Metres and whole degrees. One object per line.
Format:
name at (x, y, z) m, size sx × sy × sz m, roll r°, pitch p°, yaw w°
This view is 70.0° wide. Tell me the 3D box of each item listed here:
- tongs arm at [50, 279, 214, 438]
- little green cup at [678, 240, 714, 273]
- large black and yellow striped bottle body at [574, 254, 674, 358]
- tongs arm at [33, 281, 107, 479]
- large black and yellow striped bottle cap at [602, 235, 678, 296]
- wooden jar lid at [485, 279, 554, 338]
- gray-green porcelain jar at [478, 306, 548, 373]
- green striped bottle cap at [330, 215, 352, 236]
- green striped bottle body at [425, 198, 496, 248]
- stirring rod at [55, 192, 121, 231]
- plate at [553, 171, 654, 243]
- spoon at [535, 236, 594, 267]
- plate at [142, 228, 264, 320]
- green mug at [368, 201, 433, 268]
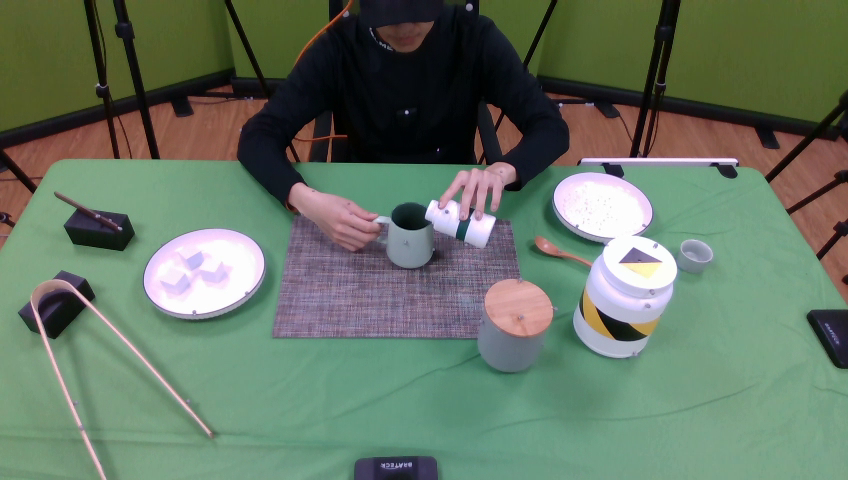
tongs arm at (-0.459, 0.178, 0.949) m, size 0.386 × 0.028 × 0.028 m, roll 37°, pitch 60°, yaw 17°
little green cup at (0.531, 0.033, 1.190) m, size 0.061 × 0.039 × 0.061 m, roll 2°, pitch 46°, yaw -1°
large black and yellow striped bottle body at (0.335, 0.096, 1.014) m, size 0.131 × 0.185 × 0.130 m, roll 2°, pitch 46°, yaw -2°
tongs arm at (-0.517, 0.214, 0.910) m, size 0.051 × 0.026 × 0.383 m, roll -28°, pitch 63°, yaw -27°
large black and yellow striped bottle cap at (0.340, 0.037, 0.955) m, size 0.115 × 0.019 × 0.114 m, roll 2°, pitch 47°, yaw -2°
wooden jar lid at (0.147, 0.108, 0.940) m, size 0.108 × 0.021 × 0.107 m, roll 4°, pitch 47°, yaw -4°
gray-green porcelain jar at (0.144, 0.148, 0.989) m, size 0.106 × 0.127 × 0.105 m, roll 2°, pitch 50°, yaw -2°
green striped bottle cap at (-0.167, -0.029, 1.214) m, size 0.044 × 0.020 × 0.044 m, roll 1°, pitch 51°, yaw -1°
green striped bottle body at (0.063, -0.034, 1.080) m, size 0.119 × 0.063 × 0.063 m, roll 21°, pitch 48°, yaw 5°
stirring rod at (-0.632, -0.055, 1.138) m, size 0.175 × 0.014 × 0.006 m, roll 24°, pitch 50°, yaw 19°
plate at (0.373, -0.066, 1.275) m, size 0.209 × 0.038 × 0.208 m, roll 2°, pitch 46°, yaw -2°
spoon at (0.303, 0.040, 1.178) m, size 0.193 × 0.022 × 0.041 m, roll 25°, pitch 30°, yaw 19°
plate at (-0.394, 0.064, 1.095) m, size 0.208 × 0.039 × 0.206 m, roll 2°, pitch 46°, yaw -2°
green mug at (-0.043, -0.011, 1.140) m, size 0.125 × 0.105 × 0.092 m, roll 7°, pitch 47°, yaw 3°
